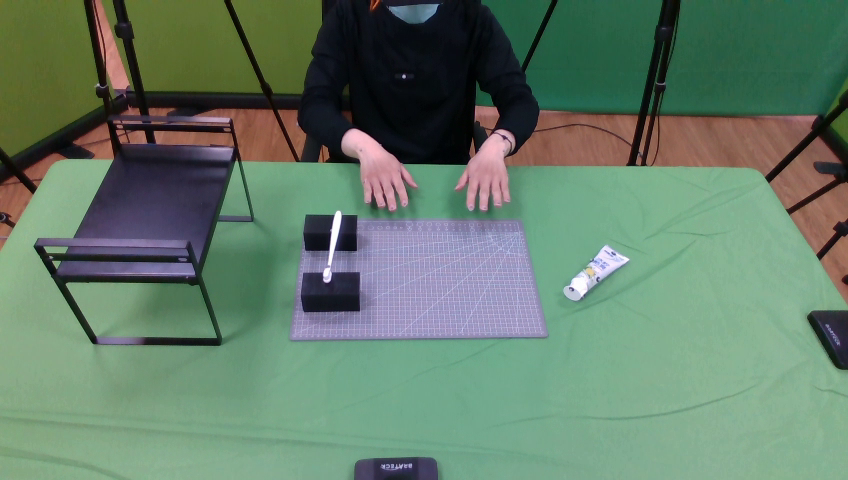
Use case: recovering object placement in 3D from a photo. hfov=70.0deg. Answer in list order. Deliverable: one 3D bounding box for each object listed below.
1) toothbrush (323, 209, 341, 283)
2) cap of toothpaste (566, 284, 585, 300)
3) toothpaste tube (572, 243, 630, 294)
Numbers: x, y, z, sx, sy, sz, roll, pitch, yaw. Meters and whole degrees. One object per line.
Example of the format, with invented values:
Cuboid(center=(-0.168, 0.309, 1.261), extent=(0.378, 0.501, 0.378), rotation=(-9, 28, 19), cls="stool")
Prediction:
Cuboid(center=(-0.167, 0.005, 1.106), extent=(0.014, 0.017, 0.180), rotation=(-5, 45, 7), cls="toothbrush")
Cuboid(center=(0.278, 0.094, 1.111), extent=(0.037, 0.037, 0.011), rotation=(26, 53, 20), cls="cap of toothpaste")
Cuboid(center=(0.334, 0.057, 1.157), extent=(0.055, 0.034, 0.165), rotation=(41, 52, 20), cls="toothpaste tube")
